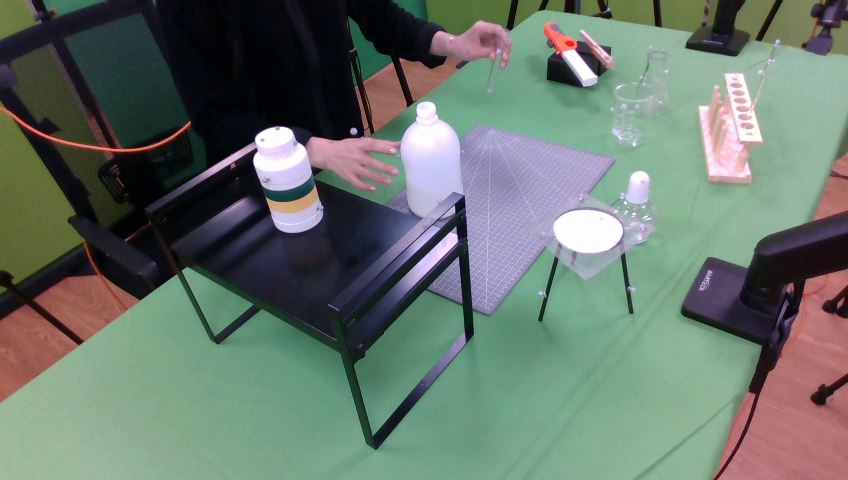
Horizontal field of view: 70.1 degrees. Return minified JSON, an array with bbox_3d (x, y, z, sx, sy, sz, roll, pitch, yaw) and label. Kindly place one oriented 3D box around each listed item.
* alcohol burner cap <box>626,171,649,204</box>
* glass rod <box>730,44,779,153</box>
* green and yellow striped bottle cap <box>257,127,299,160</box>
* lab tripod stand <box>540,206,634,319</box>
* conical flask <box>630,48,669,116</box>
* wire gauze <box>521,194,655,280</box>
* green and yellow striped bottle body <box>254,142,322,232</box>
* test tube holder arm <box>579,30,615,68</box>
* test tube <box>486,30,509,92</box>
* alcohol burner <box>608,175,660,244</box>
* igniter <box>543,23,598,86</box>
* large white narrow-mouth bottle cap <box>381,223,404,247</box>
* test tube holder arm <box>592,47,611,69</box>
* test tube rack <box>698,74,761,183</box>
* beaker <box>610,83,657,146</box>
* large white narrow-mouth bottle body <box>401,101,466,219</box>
[{"bbox_3d":[0.320,-0.081,0.900,0.034,0.048,0.033,-4,42,4],"label":"alcohol burner cap"},{"bbox_3d":[0.555,-0.234,1.020,0.008,0.200,0.008,2,40,-1],"label":"glass rod"},{"bbox_3d":[-0.169,-0.112,0.698,0.045,0.020,0.045,-5,40,5],"label":"green and yellow striped bottle cap"},{"bbox_3d":[0.217,0.034,0.821,0.148,0.132,0.147,-4,42,4],"label":"lab tripod stand"},{"bbox_3d":[0.457,-0.317,1.205,0.075,0.122,0.075,-4,41,4],"label":"conical flask"},{"bbox_3d":[0.207,-0.012,0.772,0.122,0.011,0.124,-28,44,-20],"label":"wire gauze"},{"bbox_3d":[-0.165,-0.073,0.732,0.063,0.120,0.063,-4,41,4],"label":"green and yellow striped bottle body"},{"bbox_3d":[0.384,-0.428,1.351,0.013,0.015,0.177,-11,41,-3],"label":"test tube holder arm"},{"bbox_3d":[0.131,-0.318,1.089,0.017,0.150,0.017,2,64,-4],"label":"test tube"},{"bbox_3d":[0.322,-0.053,0.924,0.078,0.119,0.077,-4,43,4],"label":"alcohol burner"},{"bbox_3d":[0.320,-0.419,1.345,0.057,0.025,0.274,-12,44,-3],"label":"igniter"},{"bbox_3d":[-0.052,-0.009,0.992,0.038,0.024,0.037,-5,39,4],"label":"large white narrow-mouth bottle cap"},{"bbox_3d":[0.386,-0.398,1.317,0.010,0.015,0.087,-10,41,-2],"label":"test tube holder arm"},{"bbox_3d":[0.547,-0.208,1.095,0.066,0.085,0.242,5,42,15],"label":"test tube rack"},{"bbox_3d":[0.388,-0.235,1.138,0.074,0.101,0.083,-31,45,-25],"label":"beaker"},{"bbox_3d":[0.013,-0.136,0.999,0.102,0.195,0.101,-5,39,5],"label":"large white narrow-mouth bottle body"}]
